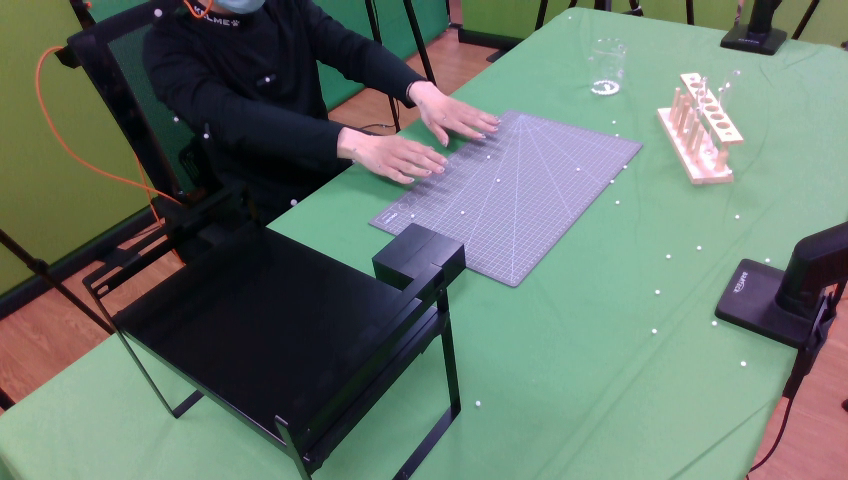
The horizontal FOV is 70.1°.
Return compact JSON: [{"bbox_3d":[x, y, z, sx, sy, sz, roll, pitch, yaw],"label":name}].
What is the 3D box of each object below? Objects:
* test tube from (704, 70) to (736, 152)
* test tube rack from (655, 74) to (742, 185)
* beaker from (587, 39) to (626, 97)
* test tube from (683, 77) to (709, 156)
[{"bbox_3d":[0.501,-0.216,1.028,0.017,0.151,0.017,-2,40,2],"label":"test tube"},{"bbox_3d":[0.488,-0.205,1.093,0.067,0.085,0.241,-3,41,5],"label":"test tube rack"},{"bbox_3d":[0.386,-0.361,1.280,0.074,0.101,0.083,-21,43,-15],"label":"beaker"},{"bbox_3d":[0.463,-0.209,1.033,0.017,0.151,0.017,-4,43,4],"label":"test tube"}]
